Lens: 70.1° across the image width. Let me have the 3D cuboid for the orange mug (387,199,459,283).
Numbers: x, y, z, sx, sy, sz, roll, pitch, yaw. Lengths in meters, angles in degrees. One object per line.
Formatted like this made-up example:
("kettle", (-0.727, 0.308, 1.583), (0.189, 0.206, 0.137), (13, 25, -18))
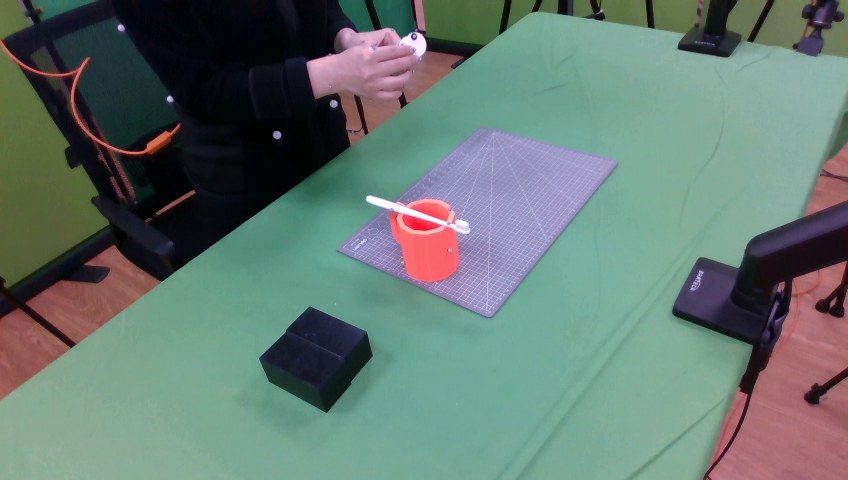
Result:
("orange mug", (-0.006, -0.007, 0.922), (0.125, 0.101, 0.084), (33, 54, 32))

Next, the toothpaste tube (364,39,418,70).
("toothpaste tube", (-0.045, -0.296, 0.987), (0.055, 0.034, 0.164), (-1, 3, -26))

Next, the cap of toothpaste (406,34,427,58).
("cap of toothpaste", (-0.013, -0.293, 0.914), (0.037, 0.037, 0.011), (-31, 21, -25))

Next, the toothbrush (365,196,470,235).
("toothbrush", (-0.013, -0.039, 0.880), (0.180, 0.017, 0.014), (18, 49, 27))
